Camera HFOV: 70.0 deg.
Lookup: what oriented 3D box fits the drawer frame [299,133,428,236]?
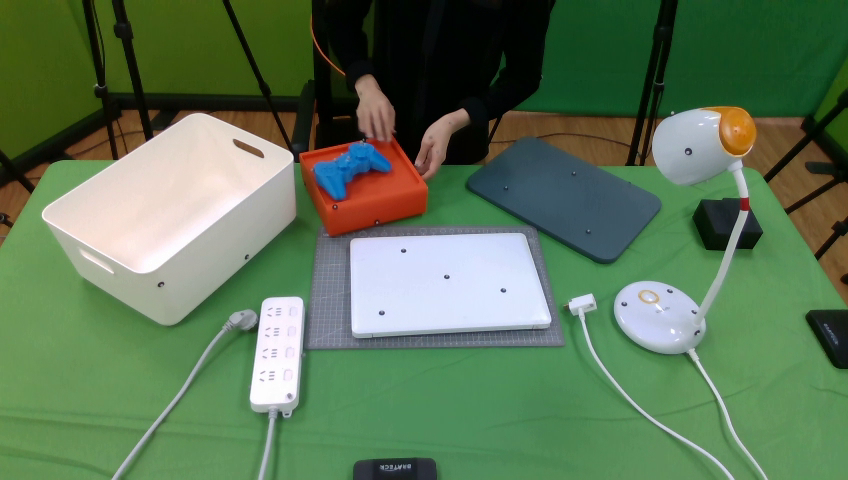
[{"bbox_3d":[-0.127,-0.120,1.260,0.214,0.083,0.200,-16,49,-19],"label":"drawer frame"}]

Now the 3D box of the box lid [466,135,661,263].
[{"bbox_3d":[0.306,-0.102,1.327,0.370,0.015,0.263,32,52,25],"label":"box lid"}]

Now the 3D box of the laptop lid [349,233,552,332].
[{"bbox_3d":[0.040,0.070,1.119,0.357,0.013,0.240,-1,44,-5],"label":"laptop lid"}]

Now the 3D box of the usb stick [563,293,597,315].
[{"bbox_3d":[0.280,0.118,1.093,0.059,0.021,0.027,-18,35,25],"label":"usb stick"}]

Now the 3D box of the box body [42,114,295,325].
[{"bbox_3d":[-0.437,-0.046,1.110,0.253,0.161,0.363,24,49,19],"label":"box body"}]

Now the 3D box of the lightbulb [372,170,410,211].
[{"bbox_3d":[-0.072,-0.100,1.256,0.059,0.060,0.107,27,62,20],"label":"lightbulb"}]

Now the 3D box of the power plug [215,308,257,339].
[{"bbox_3d":[-0.317,0.143,1.024,0.072,0.053,0.035,-32,58,-8],"label":"power plug"}]

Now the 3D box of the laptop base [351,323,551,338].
[{"bbox_3d":[0.039,0.080,1.125,0.355,0.023,0.234,-2,43,-6],"label":"laptop base"}]

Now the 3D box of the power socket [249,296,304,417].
[{"bbox_3d":[-0.239,0.182,0.996,0.072,0.033,0.225,-2,47,-5],"label":"power socket"}]

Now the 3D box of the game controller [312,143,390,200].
[{"bbox_3d":[-0.150,-0.146,1.212,0.096,0.052,0.155,32,50,30],"label":"game controller"}]

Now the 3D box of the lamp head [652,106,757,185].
[{"bbox_3d":[0.410,-0.139,0.869,0.113,0.122,0.112,0,89,-19],"label":"lamp head"}]

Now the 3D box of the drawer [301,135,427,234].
[{"bbox_3d":[-0.127,-0.120,1.262,0.212,0.073,0.193,-16,49,-18],"label":"drawer"}]

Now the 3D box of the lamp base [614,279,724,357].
[{"bbox_3d":[0.436,0.090,1.035,0.161,0.181,0.178,-23,55,-23],"label":"lamp base"}]
